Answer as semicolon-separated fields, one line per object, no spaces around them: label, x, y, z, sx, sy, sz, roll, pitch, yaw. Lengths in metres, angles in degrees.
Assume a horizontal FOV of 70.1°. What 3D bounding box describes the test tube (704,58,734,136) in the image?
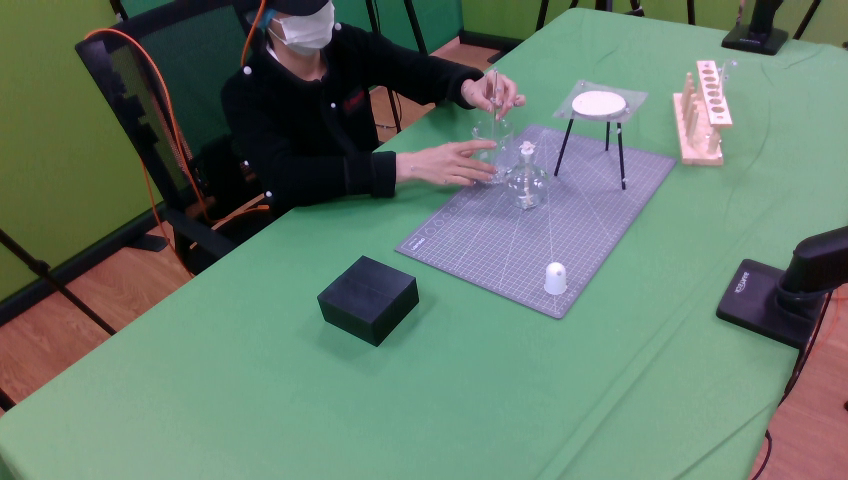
test tube;0.517;-0.247;1.062;0.017;0.151;0.017;-3;43;4

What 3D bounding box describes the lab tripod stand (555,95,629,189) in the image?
lab tripod stand;0.300;-0.174;1.045;0.148;0.132;0.147;-5;38;5

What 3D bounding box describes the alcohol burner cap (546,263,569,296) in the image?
alcohol burner cap;0.191;0.053;0.862;0.034;0.048;0.033;-5;40;4

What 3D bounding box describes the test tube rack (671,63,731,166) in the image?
test tube rack;0.513;-0.241;1.132;0.066;0.085;0.242;4;41;14

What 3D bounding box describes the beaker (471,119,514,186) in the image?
beaker;0.125;-0.155;1.077;0.084;0.101;0.073;-35;47;-29

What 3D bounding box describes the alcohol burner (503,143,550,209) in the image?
alcohol burner;0.171;-0.112;1.006;0.078;0.119;0.077;-3;41;3

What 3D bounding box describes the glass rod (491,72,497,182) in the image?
glass rod;0.120;-0.189;1.036;0.008;0.200;0.008;-2;32;2

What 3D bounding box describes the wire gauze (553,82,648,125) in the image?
wire gauze;0.293;-0.226;1.002;0.120;0.011;0.125;17;45;27
